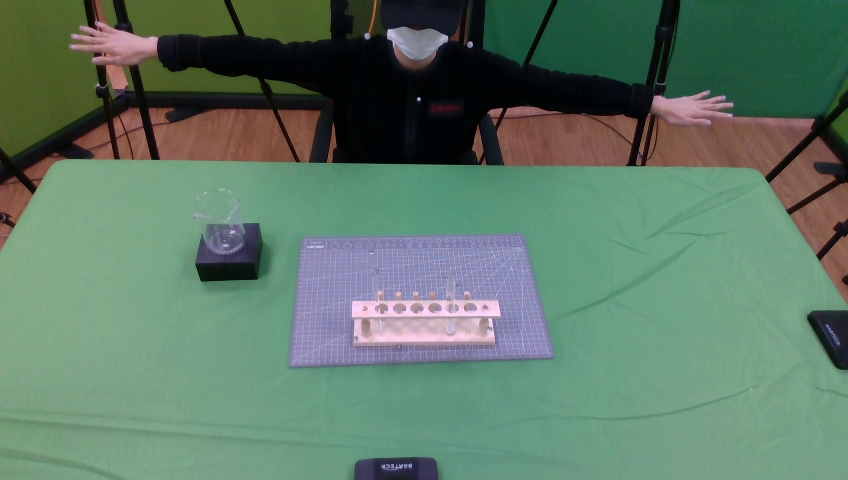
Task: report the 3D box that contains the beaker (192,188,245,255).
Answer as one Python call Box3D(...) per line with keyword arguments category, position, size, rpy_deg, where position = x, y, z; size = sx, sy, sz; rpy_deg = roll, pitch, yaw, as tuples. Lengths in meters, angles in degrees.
Box3D(category="beaker", position=(-0.359, -0.028, 1.073), size=(0.074, 0.101, 0.083), rpy_deg=(-25, 53, -25))

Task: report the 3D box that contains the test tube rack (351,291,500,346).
Box3D(category="test tube rack", position=(0.000, 0.129, 1.026), size=(0.242, 0.085, 0.066), rpy_deg=(0, 46, -4))

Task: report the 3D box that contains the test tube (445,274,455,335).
Box3D(category="test tube", position=(0.042, 0.108, 0.981), size=(0.017, 0.151, 0.017), rpy_deg=(-1, 48, 1))

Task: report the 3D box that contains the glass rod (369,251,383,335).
Box3D(category="glass rod", position=(-0.075, 0.090, 0.965), size=(0.008, 0.201, 0.008), rpy_deg=(-1, 44, 1))
